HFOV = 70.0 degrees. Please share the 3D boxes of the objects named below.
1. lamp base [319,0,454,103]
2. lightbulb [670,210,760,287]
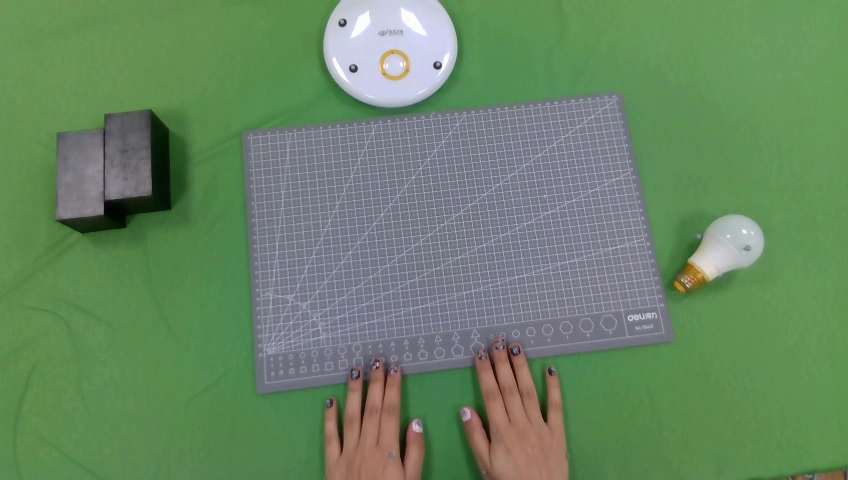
[{"bbox_3d":[-0.047,-0.268,0.654,0.161,0.181,0.178,-15,74,-5],"label":"lamp base"},{"bbox_3d":[0.314,0.013,0.662,0.107,0.060,0.059,-42,80,6],"label":"lightbulb"}]
